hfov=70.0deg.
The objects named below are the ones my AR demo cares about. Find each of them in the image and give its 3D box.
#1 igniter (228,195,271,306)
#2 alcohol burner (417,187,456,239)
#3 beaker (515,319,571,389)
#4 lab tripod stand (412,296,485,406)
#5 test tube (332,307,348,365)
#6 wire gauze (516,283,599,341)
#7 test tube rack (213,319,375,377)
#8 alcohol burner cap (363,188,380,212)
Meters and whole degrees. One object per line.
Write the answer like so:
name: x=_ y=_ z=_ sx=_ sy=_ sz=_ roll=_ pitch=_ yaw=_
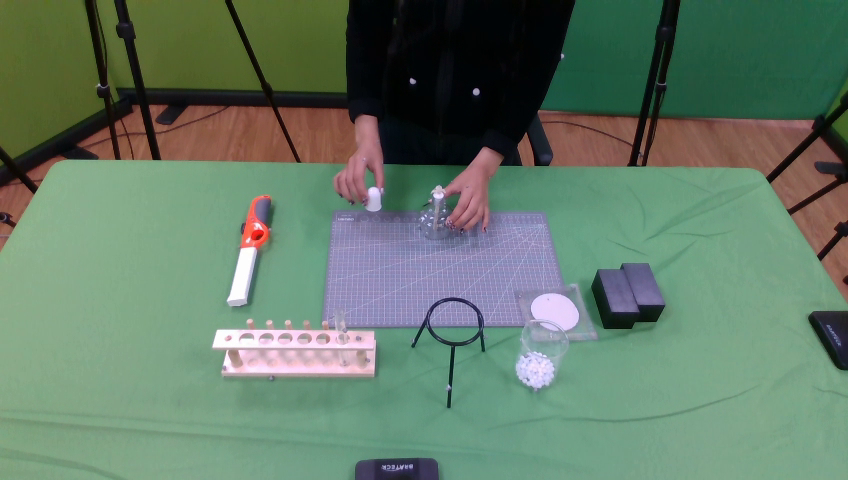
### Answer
igniter: x=-0.332 y=0.011 z=1.160 sx=0.057 sy=0.025 sz=0.274 roll=-6 pitch=46 yaw=5
alcohol burner: x=0.026 y=-0.059 z=1.189 sx=0.078 sy=0.120 sz=0.077 roll=1 pitch=47 yaw=-1
beaker: x=0.186 y=0.186 z=0.980 sx=0.074 sy=0.101 sz=0.083 roll=-23 pitch=51 yaw=-24
lab tripod stand: x=0.045 y=0.168 z=0.963 sx=0.148 sy=0.132 sz=0.147 roll=3 pitch=47 yaw=-3
test tube: x=-0.128 y=0.151 z=0.931 sx=0.017 sy=0.151 sz=0.017 roll=1 pitch=50 yaw=-2
wire gauze: x=0.240 y=0.131 z=1.094 sx=0.125 sy=0.011 sz=0.120 roll=-3 pitch=47 yaw=-8
test tube rack: x=-0.202 y=0.170 z=0.977 sx=0.242 sy=0.085 sz=0.066 roll=1 pitch=46 yaw=-3
alcohol burner cap: x=-0.102 y=-0.081 z=1.185 sx=0.034 sy=0.048 sz=0.033 roll=4 pitch=48 yaw=-4
